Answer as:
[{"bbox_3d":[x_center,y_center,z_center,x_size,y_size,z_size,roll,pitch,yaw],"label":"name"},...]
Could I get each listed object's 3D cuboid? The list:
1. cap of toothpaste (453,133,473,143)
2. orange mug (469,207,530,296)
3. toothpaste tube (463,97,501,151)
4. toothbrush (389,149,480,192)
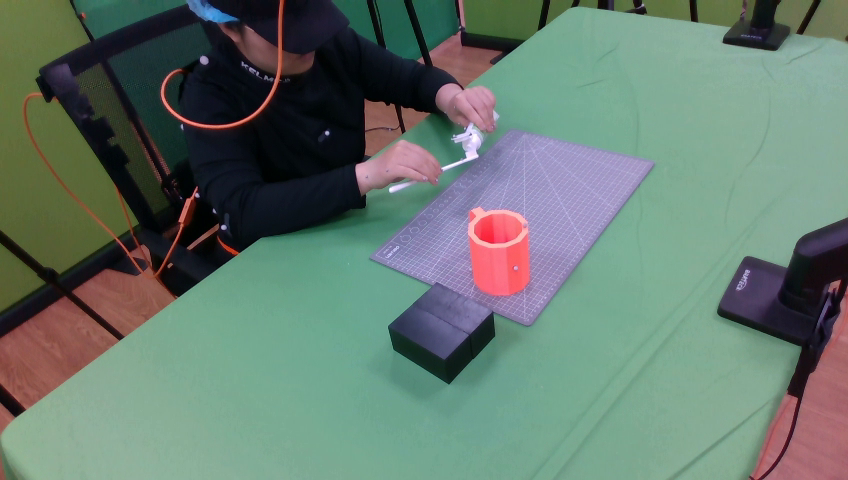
[{"bbox_3d":[0.067,-0.175,1.041,0.037,0.011,0.037,-12,16,4],"label":"cap of toothpaste"},{"bbox_3d":[0.104,0.008,0.894,0.084,0.101,0.125,-22,46,-14],"label":"orange mug"},{"bbox_3d":[0.103,-0.211,1.117,0.034,0.055,0.165,-29,21,38],"label":"toothpaste tube"},{"bbox_3d":[0.019,-0.118,1.028,0.183,0.017,0.014,-25,26,-23],"label":"toothbrush"}]
